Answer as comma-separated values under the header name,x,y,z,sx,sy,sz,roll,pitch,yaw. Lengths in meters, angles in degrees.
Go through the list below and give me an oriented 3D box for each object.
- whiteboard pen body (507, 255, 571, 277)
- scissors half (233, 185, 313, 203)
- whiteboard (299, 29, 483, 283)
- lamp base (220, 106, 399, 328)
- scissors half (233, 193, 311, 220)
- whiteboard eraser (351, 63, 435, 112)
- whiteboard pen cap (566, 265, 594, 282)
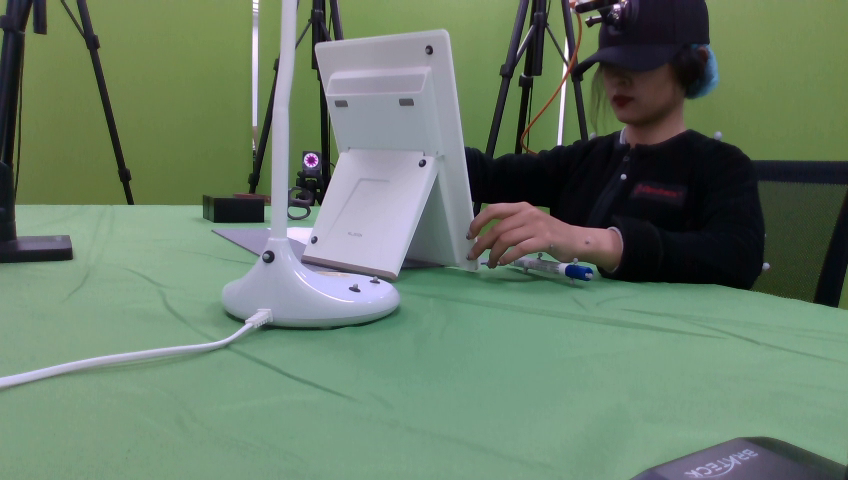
name,x,y,z,sx,sy,sz,roll,pitch,yaw
whiteboard pen body,0.156,0.034,0.773,0.017,0.017,0.140,-2,7,-32
scissors half,-0.326,-0.097,1.315,0.176,0.040,0.012,-5,19,-29
whiteboard,-0.074,-0.082,0.742,0.216,0.305,0.144,9,29,38
lamp base,-0.101,-0.023,0.531,0.160,0.180,0.179,4,10,10
scissors half,-0.330,-0.078,1.320,0.176,0.040,0.013,16,3,-32
whiteboard eraser,-0.043,-0.197,0.789,0.112,0.055,0.042,4,27,32
whiteboard pen cap,0.185,0.040,0.722,0.018,0.018,0.033,-2,6,-33
